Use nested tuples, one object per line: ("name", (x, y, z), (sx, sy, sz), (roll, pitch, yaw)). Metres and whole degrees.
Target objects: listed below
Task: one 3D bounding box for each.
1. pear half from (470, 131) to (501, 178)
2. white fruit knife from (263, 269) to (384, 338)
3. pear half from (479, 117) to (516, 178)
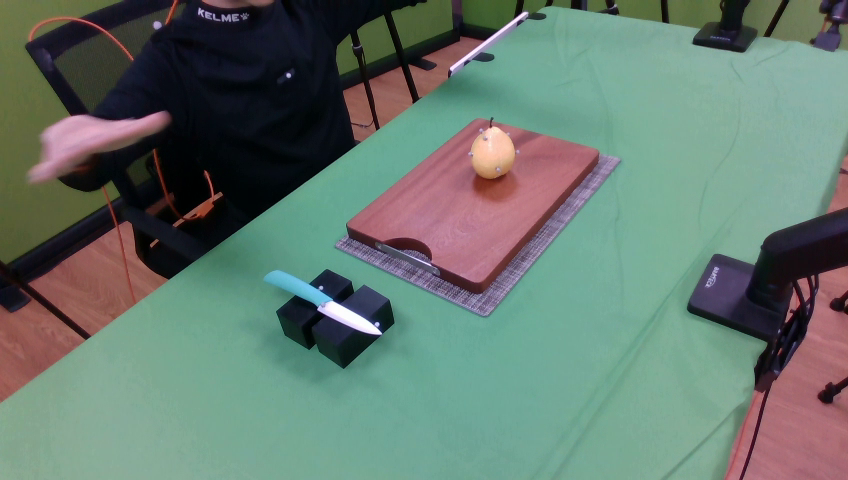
("pear half", (0.099, -0.141, 1.022), (0.031, 0.088, 0.070), (-34, 54, -29))
("white fruit knife", (-0.137, 0.085, 0.821), (0.206, 0.016, 0.027), (24, 61, 26))
("pear half", (0.126, -0.166, 1.031), (0.056, 0.110, 0.075), (-34, 51, -29))
